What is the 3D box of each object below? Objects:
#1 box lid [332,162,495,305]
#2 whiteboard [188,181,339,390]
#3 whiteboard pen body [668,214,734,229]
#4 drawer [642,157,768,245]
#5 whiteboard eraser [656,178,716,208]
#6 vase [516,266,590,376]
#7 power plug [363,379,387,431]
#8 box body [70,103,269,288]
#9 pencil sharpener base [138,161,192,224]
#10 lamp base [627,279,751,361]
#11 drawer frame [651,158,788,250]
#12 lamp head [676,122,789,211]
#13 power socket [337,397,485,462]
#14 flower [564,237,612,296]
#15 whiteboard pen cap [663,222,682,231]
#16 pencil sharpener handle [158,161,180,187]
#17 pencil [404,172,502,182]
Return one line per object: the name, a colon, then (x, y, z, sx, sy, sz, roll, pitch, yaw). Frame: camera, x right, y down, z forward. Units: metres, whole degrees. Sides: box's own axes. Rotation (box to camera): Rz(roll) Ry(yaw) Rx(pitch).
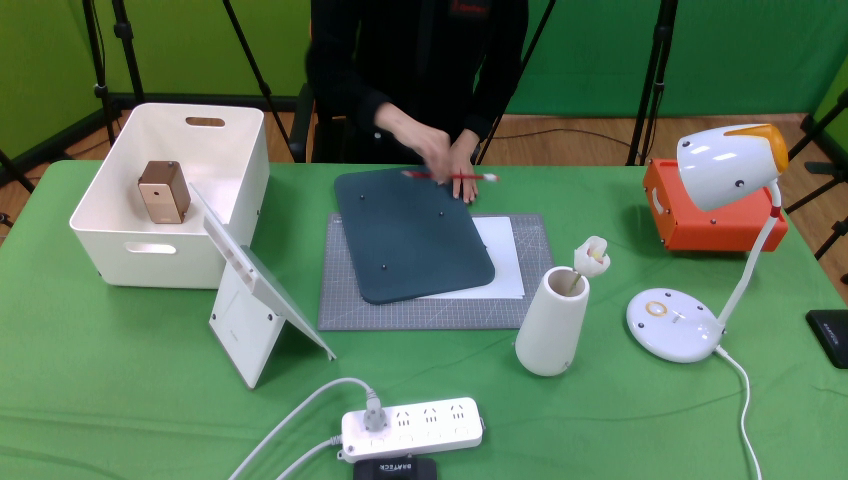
box lid: (-0.031, -0.028, 1.228, 0.264, 0.015, 0.369, -9, 47, -13)
whiteboard: (-0.292, 0.096, 0.929, 0.144, 0.307, 0.216, -38, 57, -11)
whiteboard pen body: (0.547, -0.035, 1.200, 0.141, 0.017, 0.017, -8, 48, -9)
drawer: (0.564, -0.075, 1.210, 0.212, 0.073, 0.193, 3, 45, -1)
whiteboard eraser: (0.538, -0.095, 1.251, 0.113, 0.042, 0.055, 4, 52, -10)
vase: (0.208, 0.132, 0.964, 0.098, 0.201, 0.097, 3, 46, -3)
power plug: (-0.072, 0.252, 0.910, 0.035, 0.053, 0.072, 3, 45, -1)
box body: (-0.450, -0.087, 1.148, 0.254, 0.161, 0.361, 2, 46, -2)
pencil sharpener base: (-0.502, -0.094, 1.181, 0.061, 0.107, 0.076, 0, 45, -2)
lamp base: (0.459, 0.100, 1.027, 0.178, 0.181, 0.160, 27, 51, 17)
drawer frame: (0.571, -0.074, 1.213, 0.214, 0.083, 0.200, 1, 46, 0)
lamp head: (0.423, -0.104, 0.819, 0.122, 0.113, 0.112, -13, 33, 40)
power socket: (-0.018, 0.285, 0.915, 0.227, 0.033, 0.071, -5, 46, -8)
flower: (0.206, 0.088, 0.893, 0.038, 0.363, 0.044, -16, 67, -9)
whiteboard pen cap: (0.487, -0.027, 1.188, 0.033, 0.018, 0.018, 0, 46, -15)
pencil sharpener handle: (-0.503, -0.138, 1.208, 0.036, 0.068, 0.030, 2, 45, -4)
pencil: (0.053, -0.113, 1.080, 0.194, 0.012, 0.012, 0, 45, -23)
